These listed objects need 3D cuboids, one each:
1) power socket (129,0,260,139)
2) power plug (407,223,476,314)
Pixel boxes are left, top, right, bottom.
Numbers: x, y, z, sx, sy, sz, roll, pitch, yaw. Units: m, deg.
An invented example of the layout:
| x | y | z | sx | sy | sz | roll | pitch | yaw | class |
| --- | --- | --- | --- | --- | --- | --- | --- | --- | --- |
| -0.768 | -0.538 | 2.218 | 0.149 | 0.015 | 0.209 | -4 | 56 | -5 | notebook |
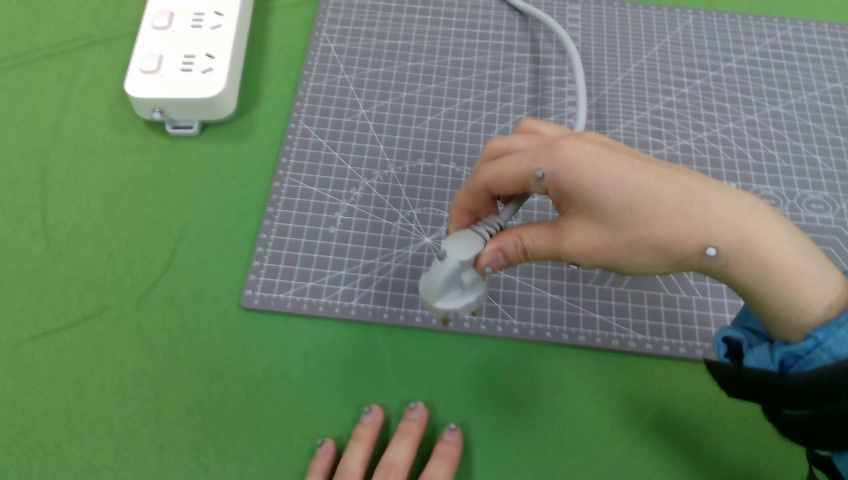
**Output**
| x | y | z | sx | sy | sz | roll | pitch | yaw | class |
| --- | --- | --- | --- | --- | --- | --- | --- | --- | --- |
| -0.167 | -0.179 | 0.468 | 0.072 | 0.033 | 0.225 | 1 | 62 | -2 | power socket |
| 0.010 | 0.006 | 0.296 | 0.035 | 0.073 | 0.052 | -13 | 59 | -13 | power plug |
